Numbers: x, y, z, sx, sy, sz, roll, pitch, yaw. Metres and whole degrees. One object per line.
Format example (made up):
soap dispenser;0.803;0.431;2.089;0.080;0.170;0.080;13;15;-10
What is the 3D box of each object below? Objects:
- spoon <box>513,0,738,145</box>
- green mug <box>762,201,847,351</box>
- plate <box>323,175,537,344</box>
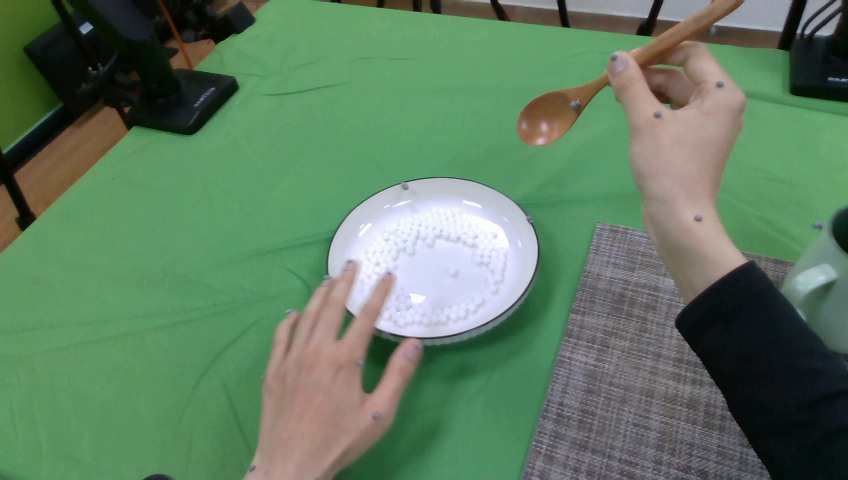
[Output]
spoon;0.144;-0.127;0.460;0.022;0.193;0.041;-18;83;-43
green mug;0.334;0.036;0.493;0.125;0.106;0.091;-19;49;-10
plate;0.007;0.018;0.600;0.209;0.038;0.207;-3;48;4
